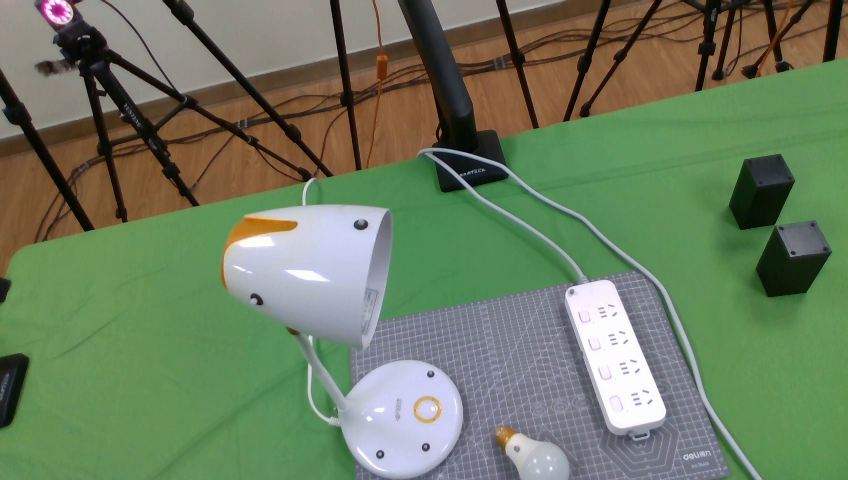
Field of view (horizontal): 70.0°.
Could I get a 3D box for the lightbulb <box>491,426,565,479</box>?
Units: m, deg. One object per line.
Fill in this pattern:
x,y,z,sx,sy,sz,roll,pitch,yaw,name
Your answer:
0.122,0.262,0.738,0.059,0.060,0.106,-43,41,-18,lightbulb

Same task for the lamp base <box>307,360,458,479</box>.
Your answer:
-0.060,0.193,0.743,0.179,0.182,0.159,-15,53,5,lamp base

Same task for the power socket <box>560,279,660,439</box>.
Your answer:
0.242,0.149,0.803,0.072,0.033,0.224,-13,53,2,power socket

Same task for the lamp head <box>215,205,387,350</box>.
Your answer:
-0.095,0.024,0.473,0.123,0.113,0.111,6,56,7,lamp head
